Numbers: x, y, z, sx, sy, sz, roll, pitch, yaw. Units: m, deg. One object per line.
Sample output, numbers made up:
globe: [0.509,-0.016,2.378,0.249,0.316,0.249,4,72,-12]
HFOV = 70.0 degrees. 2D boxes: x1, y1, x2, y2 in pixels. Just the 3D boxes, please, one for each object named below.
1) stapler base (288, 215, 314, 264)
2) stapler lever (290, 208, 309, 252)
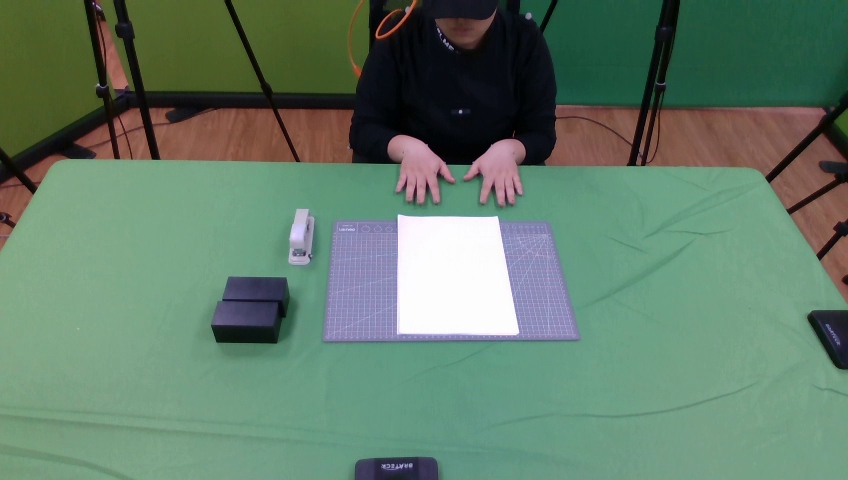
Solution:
stapler base: [-0.241,-0.007,1.185,0.041,0.024,0.129,1,44,-6]
stapler lever: [-0.240,-0.026,1.168,0.027,0.040,0.117,1,44,-6]
